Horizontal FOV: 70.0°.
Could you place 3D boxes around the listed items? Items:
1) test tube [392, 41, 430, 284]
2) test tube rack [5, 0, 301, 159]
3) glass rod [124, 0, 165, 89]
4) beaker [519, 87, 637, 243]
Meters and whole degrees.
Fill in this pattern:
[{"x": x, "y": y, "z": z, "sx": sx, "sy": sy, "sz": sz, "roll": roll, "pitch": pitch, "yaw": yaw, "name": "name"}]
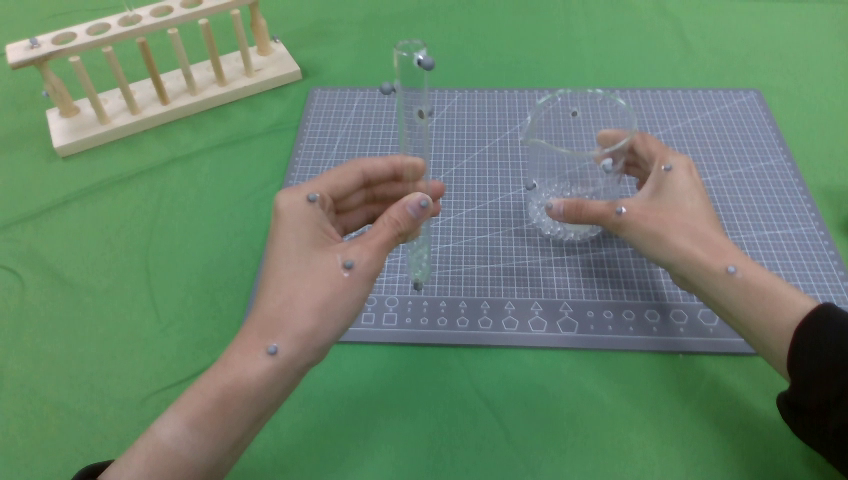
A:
[{"x": -0.005, "y": -0.032, "z": 0.325, "sx": 0.017, "sy": 0.151, "sz": 0.017, "roll": -1, "pitch": 41, "yaw": 1, "name": "test tube"}, {"x": -0.252, "y": -0.170, "z": 0.589, "sx": 0.242, "sy": 0.086, "sz": 0.066, "roll": -23, "pitch": 53, "yaw": -17, "name": "test tube rack"}, {"x": -0.264, "y": -0.213, "z": 0.538, "sx": 0.008, "sy": 0.201, "sz": 0.008, "roll": 1, "pitch": 52, "yaw": -1, "name": "glass rod"}, {"x": 0.112, "y": -0.052, "z": 0.462, "sx": 0.084, "sy": 0.101, "sz": 0.073, "roll": -14, "pitch": 50, "yaw": -5, "name": "beaker"}]
